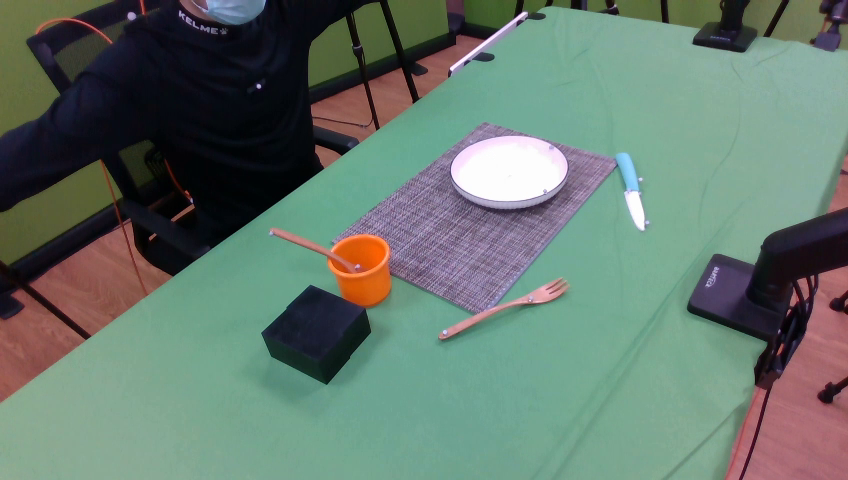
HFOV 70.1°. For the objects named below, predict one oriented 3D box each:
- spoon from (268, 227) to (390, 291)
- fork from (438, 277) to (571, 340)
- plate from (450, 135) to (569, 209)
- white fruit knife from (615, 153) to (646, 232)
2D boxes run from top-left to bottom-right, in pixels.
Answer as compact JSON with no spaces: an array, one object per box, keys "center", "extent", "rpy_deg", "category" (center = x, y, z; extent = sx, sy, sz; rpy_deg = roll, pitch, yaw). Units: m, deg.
[{"center":[-0.132,0.025,0.862],"extent":[0.021,0.195,0.041],"rpy_deg":[-41,31,32],"category":"spoon"},{"center":[0.113,0.096,0.843],"extent":[0.208,0.019,0.028],"rpy_deg":[-19,48,-16],"category":"fork"},{"center":[0.149,-0.117,1.066],"extent":[0.209,0.038,0.208],"rpy_deg":[-3,41,4],"category":"plate"},{"center":[0.352,-0.084,1.023],"extent":[0.027,0.016,0.206],"rpy_deg":[-19,40,23],"category":"white fruit knife"}]
